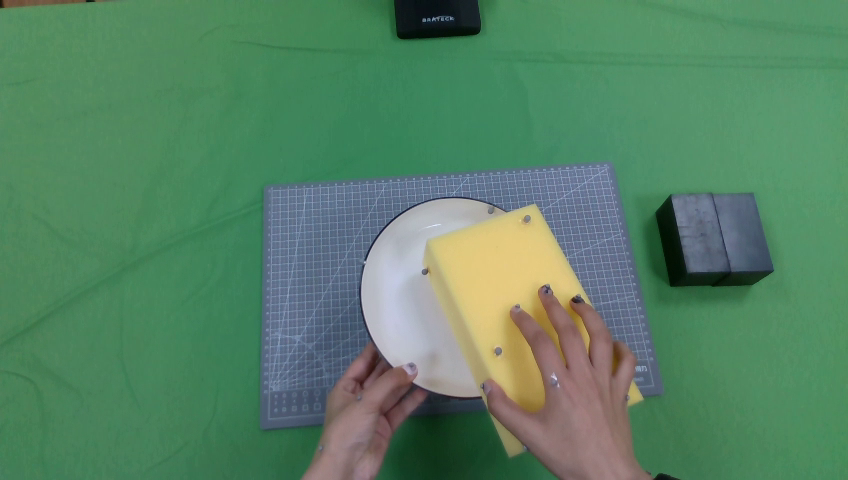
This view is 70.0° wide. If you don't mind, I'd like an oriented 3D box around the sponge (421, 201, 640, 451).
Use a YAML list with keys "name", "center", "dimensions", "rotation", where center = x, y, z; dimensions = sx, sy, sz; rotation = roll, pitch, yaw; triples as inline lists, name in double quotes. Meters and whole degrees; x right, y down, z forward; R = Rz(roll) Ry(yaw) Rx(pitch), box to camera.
- name: "sponge"
  center: [0.092, 0.076, 0.570]
  dimensions: [0.118, 0.061, 0.205]
  rotation: [-20, 69, -15]

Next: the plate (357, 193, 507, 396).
- name: "plate"
  center: [0.035, 0.055, 0.620]
  dimensions: [0.210, 0.038, 0.208]
  rotation: [3, 73, -9]
